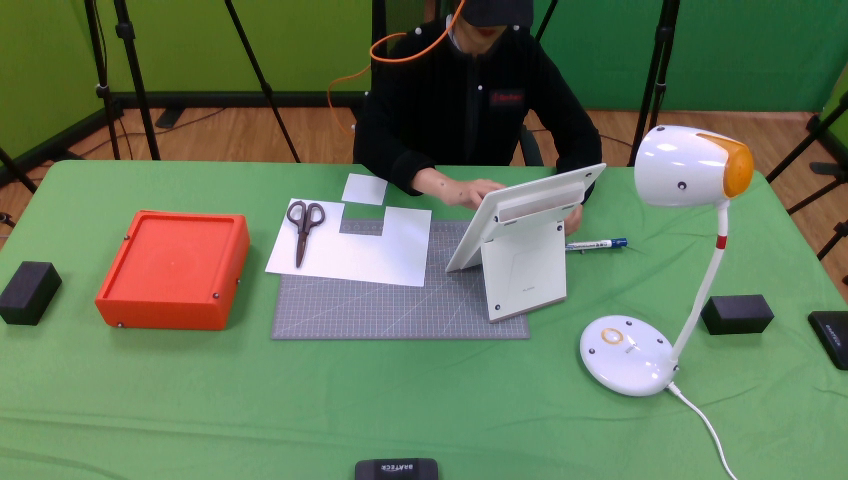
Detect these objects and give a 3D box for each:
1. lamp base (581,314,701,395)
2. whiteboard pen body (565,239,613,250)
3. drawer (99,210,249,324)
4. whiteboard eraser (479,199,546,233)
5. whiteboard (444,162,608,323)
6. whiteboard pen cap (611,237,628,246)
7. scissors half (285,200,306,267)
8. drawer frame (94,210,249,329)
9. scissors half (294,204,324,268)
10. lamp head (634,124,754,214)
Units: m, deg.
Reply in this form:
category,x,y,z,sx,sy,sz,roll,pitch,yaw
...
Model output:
category,x,y,z,sx,sy,sz,roll,pitch,yaw
lamp base,0.361,0.145,0.973,0.178,0.181,0.160,34,53,23
whiteboard pen body,0.331,0.008,1.212,0.141,0.017,0.017,-5,47,-4
drawer,-0.435,0.044,1.081,0.194,0.073,0.210,3,47,-2
whiteboard eraser,0.159,-0.041,1.085,0.113,0.055,0.041,-13,82,-17
whiteboard,0.186,0.025,1.029,0.217,0.306,0.143,-14,68,-18
whiteboard pen cap,0.390,0.004,1.215,0.033,0.018,0.018,-7,47,-2
scissors half,-0.251,-0.014,1.192,0.040,0.013,0.174,2,49,-18
drawer frame,-0.435,0.048,1.076,0.202,0.083,0.212,2,47,-3
scissors half,-0.231,-0.009,1.197,0.040,0.013,0.174,21,45,-8
lamp head,0.351,-0.089,0.776,0.112,0.113,0.122,-30,30,-28
